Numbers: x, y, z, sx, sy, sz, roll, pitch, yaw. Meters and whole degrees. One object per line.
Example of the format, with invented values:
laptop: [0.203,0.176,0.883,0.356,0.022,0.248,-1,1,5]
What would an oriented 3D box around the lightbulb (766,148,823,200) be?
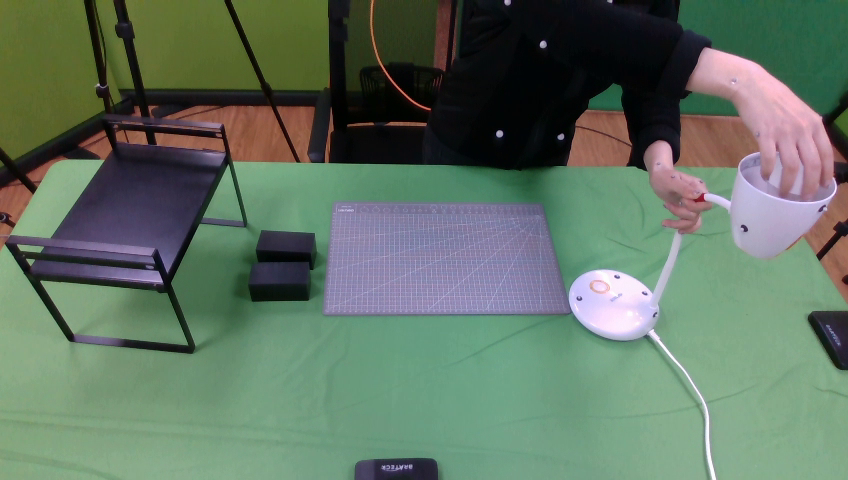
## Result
lightbulb: [0.448,-0.062,0.751,0.059,0.108,0.059,4,38,-3]

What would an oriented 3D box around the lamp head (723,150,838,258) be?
lamp head: [0.440,-0.040,0.773,0.112,0.123,0.111,1,45,0]

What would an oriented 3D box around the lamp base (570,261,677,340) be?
lamp base: [0.360,0.068,1.047,0.178,0.181,0.160,37,55,25]
